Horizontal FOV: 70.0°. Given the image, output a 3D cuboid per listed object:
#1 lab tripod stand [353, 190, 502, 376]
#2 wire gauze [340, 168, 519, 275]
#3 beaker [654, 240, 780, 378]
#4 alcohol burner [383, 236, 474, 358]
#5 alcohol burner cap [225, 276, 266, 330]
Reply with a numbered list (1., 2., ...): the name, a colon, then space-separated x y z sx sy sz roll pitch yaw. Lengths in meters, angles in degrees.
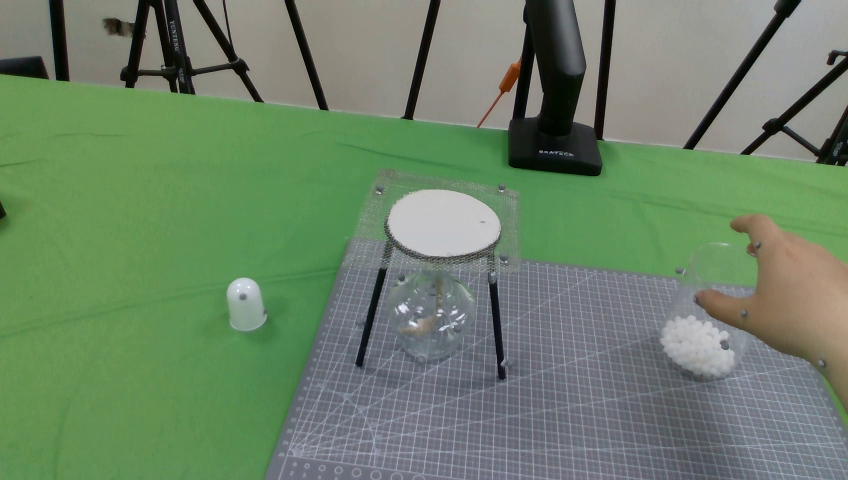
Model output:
1. lab tripod stand: 0.008 0.034 0.501 0.148 0.132 0.147 2 38 -1
2. wire gauze: 0.010 -0.015 0.455 0.121 0.011 0.124 7 38 4
3. beaker: 0.245 0.064 0.519 0.074 0.101 0.083 16 41 14
4. alcohol burner: 0.005 0.043 0.506 0.078 0.120 0.077 4 40 -3
5. alcohol burner cap: -0.159 0.053 0.537 0.034 0.048 0.033 3 40 -2
